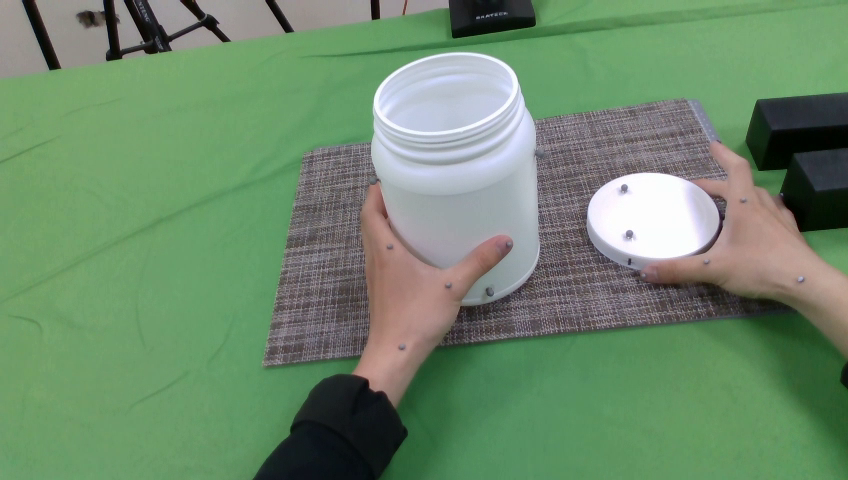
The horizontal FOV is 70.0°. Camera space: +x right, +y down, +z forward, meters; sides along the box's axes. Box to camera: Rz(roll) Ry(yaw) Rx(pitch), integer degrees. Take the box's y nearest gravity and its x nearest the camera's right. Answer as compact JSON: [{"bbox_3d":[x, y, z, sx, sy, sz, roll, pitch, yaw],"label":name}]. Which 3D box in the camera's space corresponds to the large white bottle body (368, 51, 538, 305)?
[{"bbox_3d":[0.028,-0.048,0.509,0.130,0.186,0.129,-6,45,7],"label":"large white bottle body"}]

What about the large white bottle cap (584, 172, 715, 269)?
[{"bbox_3d":[0.208,-0.021,0.563,0.115,0.018,0.113,-6,46,6],"label":"large white bottle cap"}]
